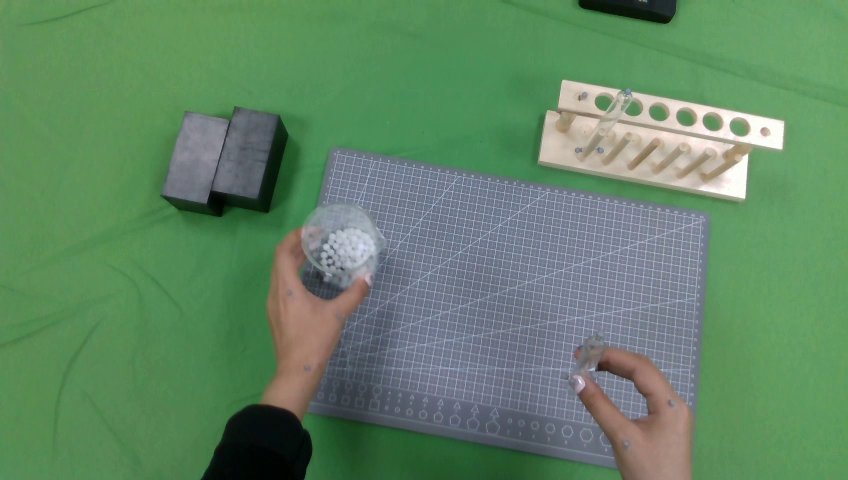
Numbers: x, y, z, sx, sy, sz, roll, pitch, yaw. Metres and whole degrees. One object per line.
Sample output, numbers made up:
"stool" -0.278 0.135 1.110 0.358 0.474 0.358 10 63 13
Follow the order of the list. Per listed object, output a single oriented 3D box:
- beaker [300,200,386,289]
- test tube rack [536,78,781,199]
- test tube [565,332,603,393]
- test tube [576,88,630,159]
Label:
"beaker" -0.081 0.009 0.633 0.084 0.100 0.073 5 75 -2
"test tube rack" 0.258 -0.112 0.685 0.242 0.085 0.066 11 76 1
"test tube" 0.133 0.107 0.511 0.017 0.152 0.017 -3 64 6
"test tube" 0.186 -0.119 0.638 0.017 0.151 0.017 0 76 -1
